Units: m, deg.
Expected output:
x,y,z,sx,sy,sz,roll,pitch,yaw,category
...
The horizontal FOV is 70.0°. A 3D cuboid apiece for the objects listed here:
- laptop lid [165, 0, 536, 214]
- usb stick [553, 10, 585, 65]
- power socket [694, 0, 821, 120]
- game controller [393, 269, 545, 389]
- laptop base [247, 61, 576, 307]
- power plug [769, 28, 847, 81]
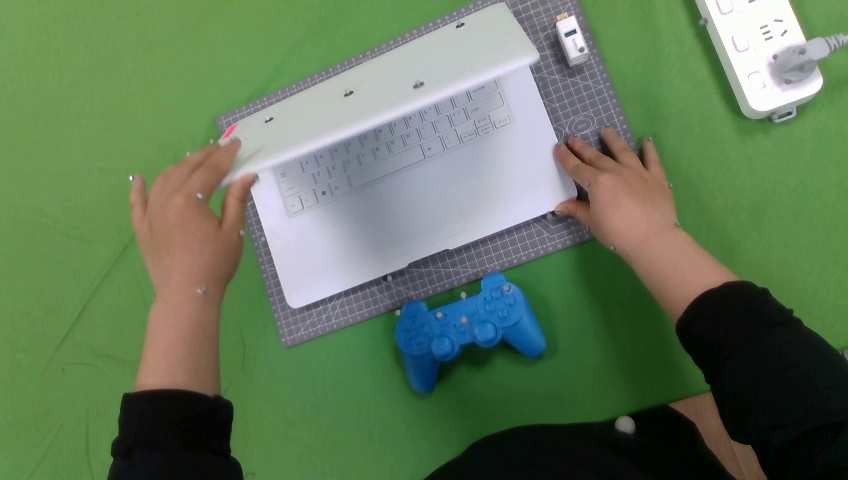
x,y,z,sx,sy,sz,roll,pitch,yaw,category
-0.075,-0.143,0.600,0.356,0.239,0.013,-20,119,12,laptop lid
0.153,-0.221,0.649,0.021,0.027,0.059,-20,80,14,usb stick
0.322,-0.230,0.609,0.072,0.033,0.226,-20,81,12,power socket
0.041,0.093,0.643,0.155,0.052,0.096,-20,77,11,game controller
-0.035,-0.091,0.690,0.354,0.023,0.235,-22,84,11,laptop base
0.367,-0.172,0.573,0.072,0.053,0.035,-8,82,8,power plug
